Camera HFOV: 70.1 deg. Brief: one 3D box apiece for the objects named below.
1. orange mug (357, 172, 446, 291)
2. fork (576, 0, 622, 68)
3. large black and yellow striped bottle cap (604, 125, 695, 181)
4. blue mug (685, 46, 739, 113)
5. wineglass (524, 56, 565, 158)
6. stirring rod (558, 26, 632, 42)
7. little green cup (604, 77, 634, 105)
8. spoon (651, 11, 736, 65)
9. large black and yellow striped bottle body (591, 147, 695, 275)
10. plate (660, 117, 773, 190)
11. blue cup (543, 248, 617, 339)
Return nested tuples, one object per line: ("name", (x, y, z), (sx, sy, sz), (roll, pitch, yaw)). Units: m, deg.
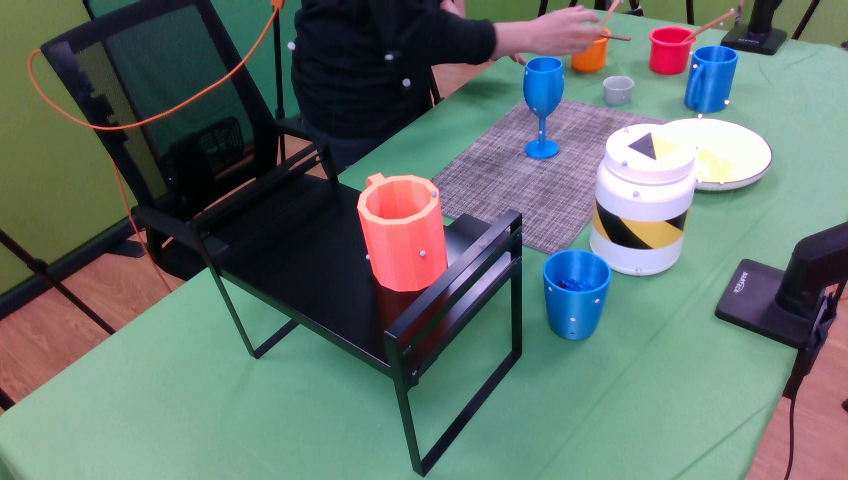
("orange mug", (-0.030, -0.018, 0.669), (0.084, 0.101, 0.125), (-23, 47, -16))
("fork", (0.409, -0.484, 1.381), (0.028, 0.019, 0.207), (37, 101, 45))
("large black and yellow striped bottle cap", (0.304, -0.120, 0.817), (0.115, 0.019, 0.114), (-3, 41, 3))
("blue mug", (0.556, -0.310, 1.190), (0.117, 0.106, 0.081), (-32, 46, -25))
("wineglass", (0.218, -0.240, 1.101), (0.074, 0.173, 0.073), (-4, 41, 4))
("stirring rod", (0.381, -0.463, 1.356), (0.175, 0.006, 0.014), (22, 47, 30))
("little green cup", (0.407, -0.311, 1.266), (0.061, 0.039, 0.061), (-5, 40, 5))
("spoon", (0.574, -0.431, 1.297), (0.193, 0.022, 0.041), (-34, 19, 47))
("large black and yellow striped bottle body", (0.313, -0.056, 0.871), (0.131, 0.185, 0.130), (-4, 40, 4))
("plate", (0.495, -0.148, 1.063), (0.209, 0.038, 0.208), (-5, 40, 4))
("blue cup", (0.199, 0.076, 0.797), (0.092, 0.100, 0.092), (-4, 39, 4))
